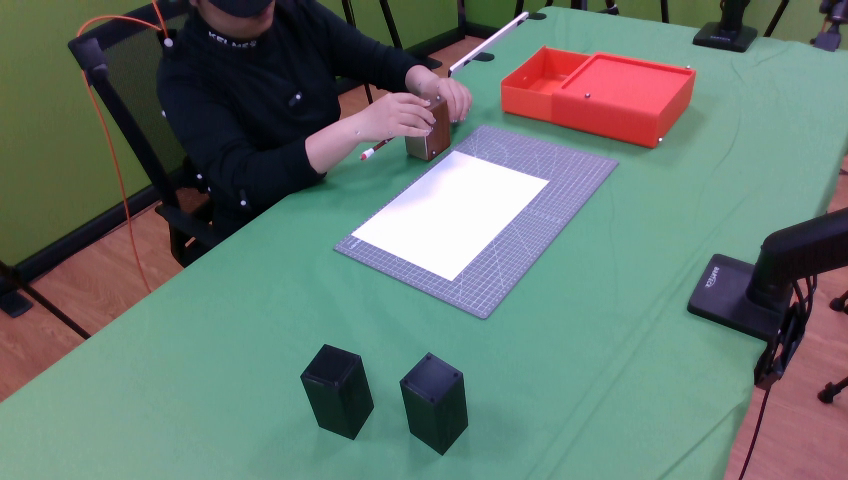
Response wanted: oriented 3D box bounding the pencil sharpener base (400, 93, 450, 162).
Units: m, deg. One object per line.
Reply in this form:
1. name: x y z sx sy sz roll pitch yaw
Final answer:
1. pencil sharpener base: 0.006 -0.216 1.159 0.061 0.107 0.077 24 49 32

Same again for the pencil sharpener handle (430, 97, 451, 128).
1. pencil sharpener handle: 0.037 -0.253 1.179 0.035 0.068 0.031 22 48 34

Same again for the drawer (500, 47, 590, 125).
1. drawer: 0.295 -0.316 1.255 0.210 0.073 0.195 22 47 29

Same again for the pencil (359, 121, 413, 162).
1. pencil: -0.051 -0.194 1.099 0.012 0.012 0.194 23 49 31

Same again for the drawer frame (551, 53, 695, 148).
1. drawer frame: 0.391 -0.281 1.196 0.212 0.083 0.202 22 48 29
